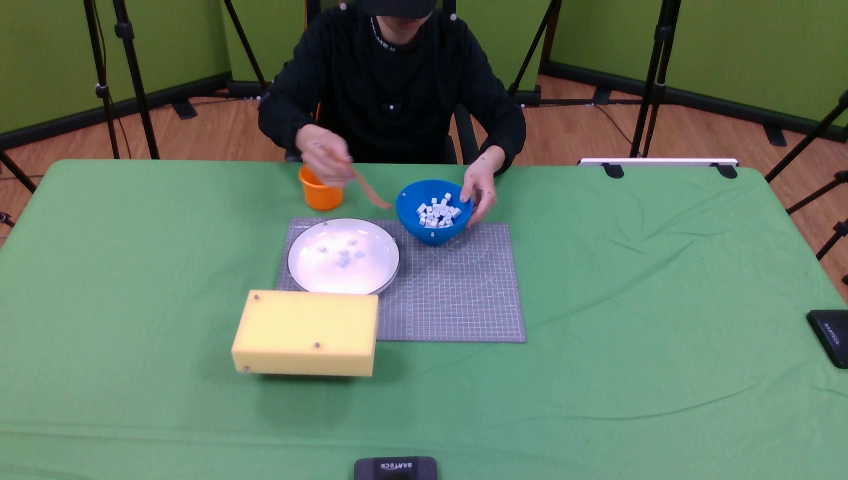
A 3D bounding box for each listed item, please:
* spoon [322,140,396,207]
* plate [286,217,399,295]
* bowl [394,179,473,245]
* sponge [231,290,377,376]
[{"bbox_3d":[-0.112,-0.114,1.062,0.021,0.195,0.041,-51,39,-10],"label":"spoon"},{"bbox_3d":[-0.150,0.041,1.131,0.209,0.038,0.208,2,46,-2],"label":"plate"},{"bbox_3d":[0.017,-0.044,1.187,0.151,0.077,0.150,1,44,-1],"label":"bowl"},{"bbox_3d":[-0.180,0.144,0.949,0.207,0.061,0.117,2,46,-2],"label":"sponge"}]
